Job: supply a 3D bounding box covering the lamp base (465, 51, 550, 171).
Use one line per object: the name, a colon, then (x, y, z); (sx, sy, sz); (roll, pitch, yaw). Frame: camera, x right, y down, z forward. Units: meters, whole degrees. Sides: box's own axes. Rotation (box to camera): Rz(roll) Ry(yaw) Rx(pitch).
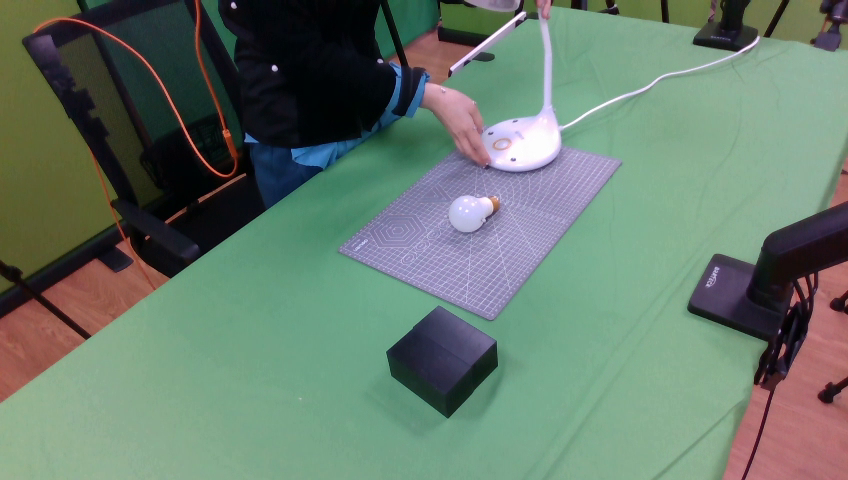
lamp base: (0.159, -0.243, 1.103); (0.180, 0.181, 0.159); (-32, 46, -29)
